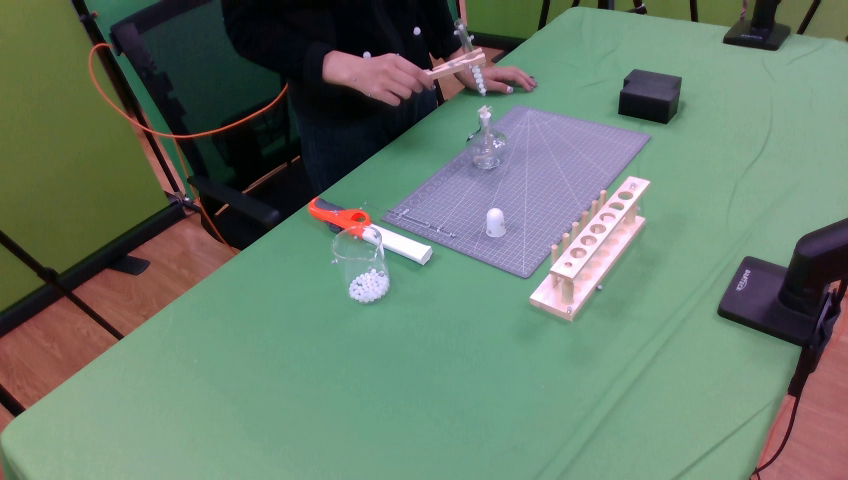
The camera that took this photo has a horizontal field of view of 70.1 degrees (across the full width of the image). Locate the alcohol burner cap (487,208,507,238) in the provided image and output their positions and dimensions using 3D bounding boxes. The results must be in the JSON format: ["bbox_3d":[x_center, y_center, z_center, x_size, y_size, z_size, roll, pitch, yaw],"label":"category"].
[{"bbox_3d":[0.116,-0.030,0.975,0.034,0.048,0.033,-6,40,5],"label":"alcohol burner cap"}]

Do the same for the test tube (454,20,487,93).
[{"bbox_3d":[0.079,-0.298,0.994,0.017,0.151,0.017,-11,55,16],"label":"test tube"}]

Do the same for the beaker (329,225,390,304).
[{"bbox_3d":[-0.089,0.040,0.890,0.074,0.101,0.083,-32,46,-24],"label":"beaker"}]

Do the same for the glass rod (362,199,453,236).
[{"bbox_3d":[-0.031,-0.041,1.041,0.198,0.008,0.008,22,50,31],"label":"glass rod"}]

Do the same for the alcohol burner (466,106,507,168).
[{"bbox_3d":[0.115,-0.193,1.112,0.078,0.119,0.077,-4,41,4],"label":"alcohol burner"}]

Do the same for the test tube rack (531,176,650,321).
[{"bbox_3d":[0.246,0.002,0.884,0.066,0.085,0.243,22,49,32],"label":"test tube rack"}]

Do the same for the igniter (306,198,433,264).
[{"bbox_3d":[-0.102,-0.020,1.019,0.274,0.025,0.057,22,59,32],"label":"igniter"}]

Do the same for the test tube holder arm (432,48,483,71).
[{"bbox_3d":[0.056,-0.293,0.999,0.088,0.015,0.010,-24,51,0],"label":"test tube holder arm"}]

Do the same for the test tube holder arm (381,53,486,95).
[{"bbox_3d":[0.015,-0.274,0.997,0.178,0.015,0.013,-18,51,5],"label":"test tube holder arm"}]
